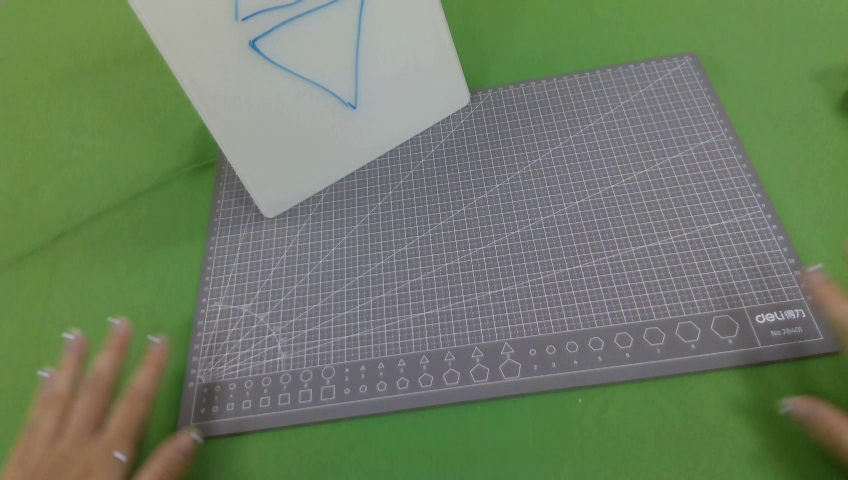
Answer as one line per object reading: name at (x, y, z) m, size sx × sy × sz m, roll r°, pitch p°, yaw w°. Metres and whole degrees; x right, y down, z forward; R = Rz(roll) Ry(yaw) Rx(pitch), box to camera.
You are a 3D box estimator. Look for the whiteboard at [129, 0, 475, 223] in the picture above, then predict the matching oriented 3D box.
whiteboard at (-0.122, -0.213, 0.500) m, size 0.217 × 0.308 × 0.142 m, roll -32°, pitch 36°, yaw -11°
